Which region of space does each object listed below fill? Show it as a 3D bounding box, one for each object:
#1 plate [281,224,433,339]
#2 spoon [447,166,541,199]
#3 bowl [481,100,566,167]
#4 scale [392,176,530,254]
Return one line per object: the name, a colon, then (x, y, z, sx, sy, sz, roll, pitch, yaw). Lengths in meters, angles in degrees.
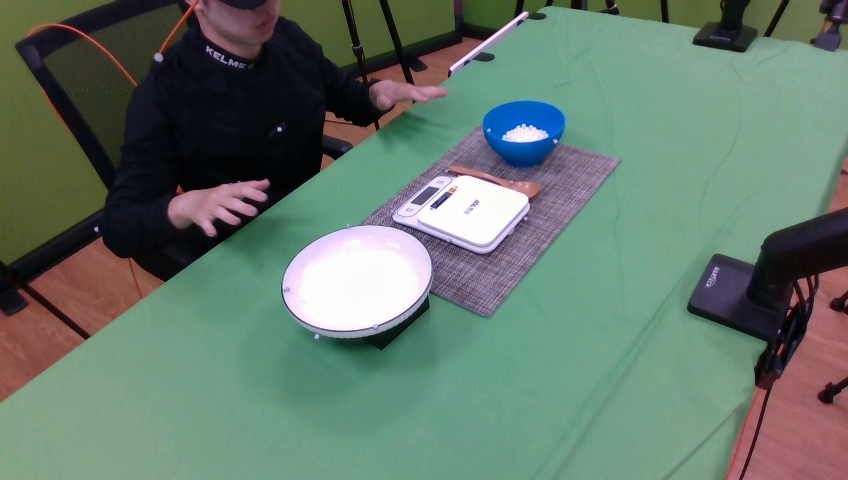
plate: (-0.089, 0.057, 0.825, 0.209, 0.038, 0.208, -4, 40, 4)
spoon: (0.120, -0.107, 1.071, 0.192, 0.022, 0.041, 23, 64, 31)
bowl: (0.183, -0.187, 1.111, 0.151, 0.077, 0.150, -4, 41, 4)
scale: (0.060, -0.050, 1.006, 0.199, 0.032, 0.149, 22, 48, 30)
